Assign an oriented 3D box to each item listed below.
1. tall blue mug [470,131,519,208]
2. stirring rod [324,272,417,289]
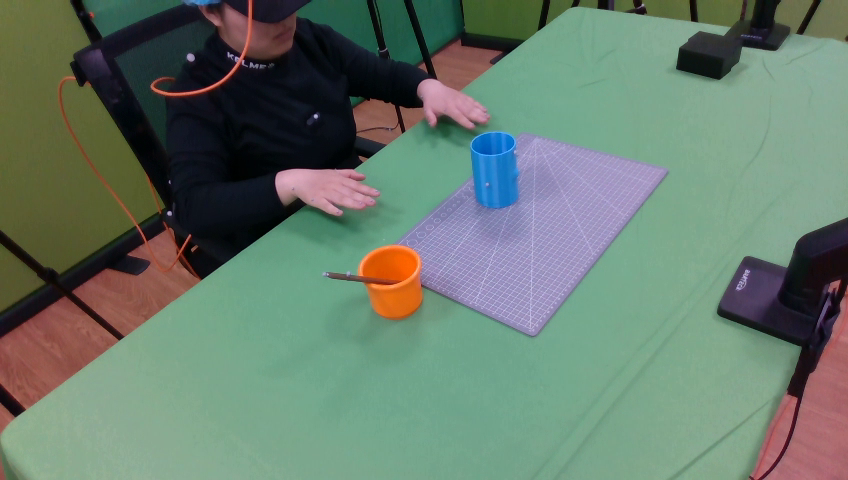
[{"bbox_3d":[0.122,-0.129,1.042,0.078,0.108,0.106,-7,40,5],"label":"tall blue mug"},{"bbox_3d":[-0.069,0.057,0.840,0.014,0.006,0.178,27,9,39],"label":"stirring rod"}]
